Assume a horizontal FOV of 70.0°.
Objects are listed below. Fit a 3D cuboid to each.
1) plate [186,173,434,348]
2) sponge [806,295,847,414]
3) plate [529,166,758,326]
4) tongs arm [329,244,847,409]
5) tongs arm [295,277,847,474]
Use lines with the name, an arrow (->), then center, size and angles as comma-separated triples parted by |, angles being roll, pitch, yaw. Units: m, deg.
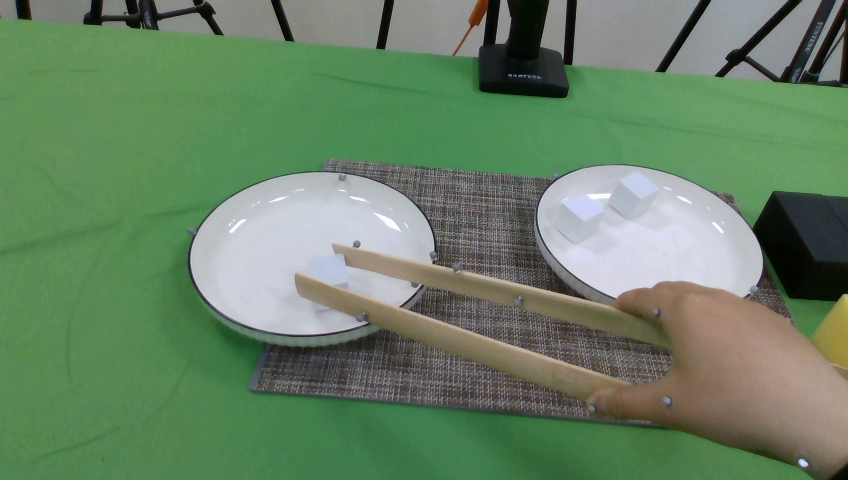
plate -> -0.095, 0.016, 0.532 | 0.209, 0.038, 0.207 | 3, 42, -3
sponge -> 0.392, 0.137, 0.438 | 0.118, 0.061, 0.204 | 2, 43, -3
plate -> 0.201, 0.005, 0.574 | 0.208, 0.039, 0.205 | 3, 43, -3
tongs arm -> 0.084, 0.058, 0.413 | 0.382, 0.027, 0.050 | 11, 40, 25
tongs arm -> 0.069, 0.075, 0.394 | 0.385, 0.028, 0.028 | 13, 38, 27
